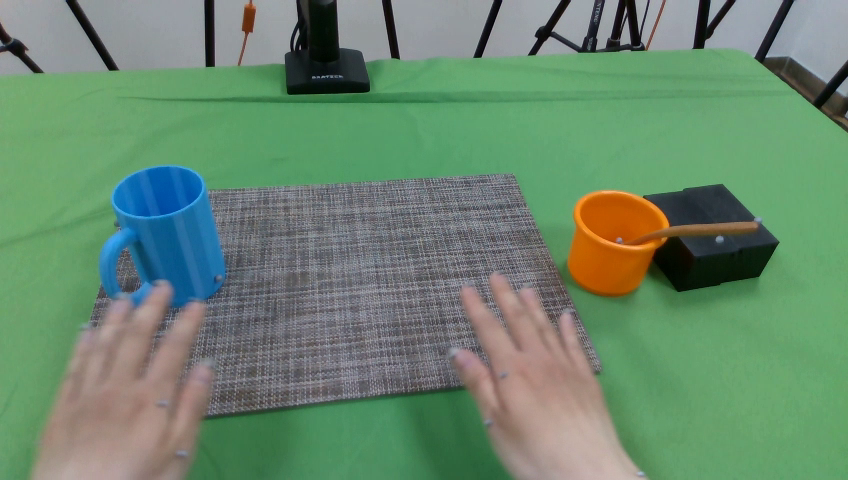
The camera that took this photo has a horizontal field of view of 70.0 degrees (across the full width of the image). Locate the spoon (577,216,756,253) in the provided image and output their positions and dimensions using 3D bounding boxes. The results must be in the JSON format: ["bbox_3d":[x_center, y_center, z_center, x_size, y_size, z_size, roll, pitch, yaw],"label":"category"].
[{"bbox_3d":[0.217,-0.007,0.569,0.042,0.193,0.021,-21,91,-29],"label":"spoon"}]

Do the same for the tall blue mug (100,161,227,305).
[{"bbox_3d":[-0.230,0.004,0.545,0.078,0.109,0.106,2,42,-3],"label":"tall blue mug"}]
